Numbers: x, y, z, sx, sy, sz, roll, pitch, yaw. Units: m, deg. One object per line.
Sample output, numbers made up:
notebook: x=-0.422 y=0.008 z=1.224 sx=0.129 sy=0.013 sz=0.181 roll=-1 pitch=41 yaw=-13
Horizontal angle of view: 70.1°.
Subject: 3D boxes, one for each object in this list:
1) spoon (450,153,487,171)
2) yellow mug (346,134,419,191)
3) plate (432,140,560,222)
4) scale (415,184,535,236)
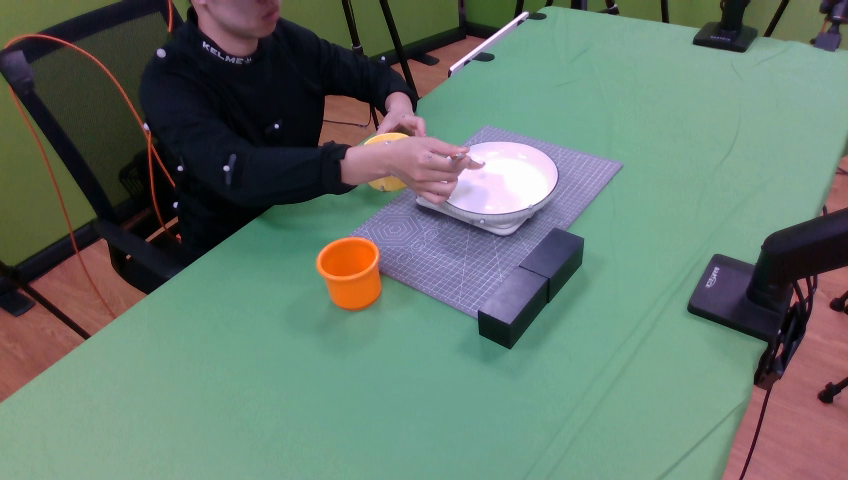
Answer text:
spoon: x=0.064 y=-0.122 z=0.925 sx=0.041 sy=0.021 sz=0.194 roll=5 pitch=2 yaw=15
yellow mug: x=-0.079 y=-0.142 z=1.115 sx=0.131 sy=0.064 sz=0.099 roll=-6 pitch=39 yaw=2
plate: x=0.118 y=-0.094 z=0.999 sx=0.209 sy=0.038 sz=0.208 roll=-5 pitch=41 yaw=4
scale: x=0.099 y=-0.080 z=1.035 sx=0.199 sy=0.032 sz=0.149 roll=23 pitch=48 yaw=31
